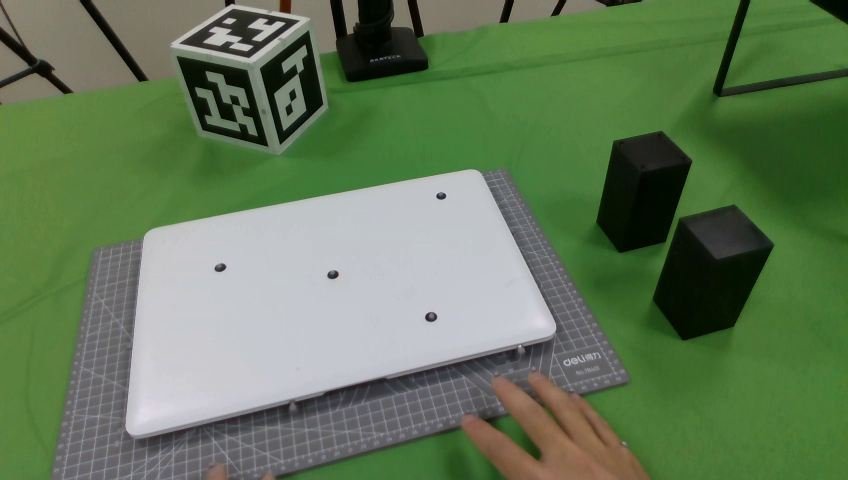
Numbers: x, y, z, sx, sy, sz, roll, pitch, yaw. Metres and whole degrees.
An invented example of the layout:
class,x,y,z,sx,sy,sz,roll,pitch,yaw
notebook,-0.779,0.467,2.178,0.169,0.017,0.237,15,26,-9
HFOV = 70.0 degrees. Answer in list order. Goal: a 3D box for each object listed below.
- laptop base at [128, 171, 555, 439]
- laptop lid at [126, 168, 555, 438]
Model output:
class,x,y,z,sx,sy,sz,roll,pitch,yaw
laptop base,-0.084,0.042,0.569,0.355,0.023,0.233,-12,48,-9
laptop lid,-0.084,0.035,0.559,0.357,0.013,0.239,-11,47,-7
